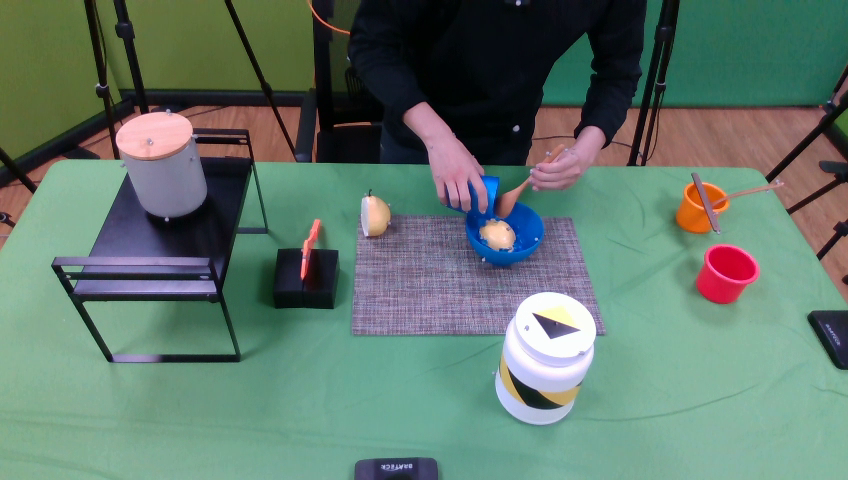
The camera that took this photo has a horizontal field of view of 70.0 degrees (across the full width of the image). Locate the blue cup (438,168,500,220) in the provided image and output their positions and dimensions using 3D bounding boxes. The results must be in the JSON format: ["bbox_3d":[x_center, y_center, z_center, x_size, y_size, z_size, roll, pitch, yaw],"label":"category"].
[{"bbox_3d":[0.081,-0.092,1.131,0.100,0.093,0.092,16,47,3],"label":"blue cup"}]

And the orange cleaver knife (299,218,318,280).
[{"bbox_3d":[-0.214,0.013,1.125,0.012,0.077,0.210,6,17,-5],"label":"orange cleaver knife"}]

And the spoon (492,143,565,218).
[{"bbox_3d":[0.185,-0.107,1.087,0.022,0.194,0.041,-14,63,-52],"label":"spoon"}]

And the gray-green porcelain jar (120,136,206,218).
[{"bbox_3d":[-0.403,-0.106,0.946,0.106,0.127,0.105,3,46,-2],"label":"gray-green porcelain jar"}]

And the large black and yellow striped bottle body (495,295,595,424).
[{"bbox_3d":[0.183,0.182,0.923,0.131,0.185,0.130,2,46,-2],"label":"large black and yellow striped bottle body"}]

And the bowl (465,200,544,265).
[{"bbox_3d":[0.149,-0.004,1.167,0.151,0.077,0.150,2,46,-2],"label":"bowl"}]

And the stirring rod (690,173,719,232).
[{"bbox_3d":[0.566,-0.080,1.225,0.014,0.006,0.175,2,46,2],"label":"stirring rod"}]

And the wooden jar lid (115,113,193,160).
[{"bbox_3d":[-0.399,-0.151,0.900,0.108,0.021,0.107,3,46,-3],"label":"wooden jar lid"}]

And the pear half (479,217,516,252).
[{"bbox_3d":[0.145,-0.014,1.167,0.070,0.031,0.087,-22,57,-18],"label":"pear half"}]

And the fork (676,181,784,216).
[{"bbox_3d":[0.618,-0.084,1.235,0.207,0.019,0.028,-23,21,38],"label":"fork"}]

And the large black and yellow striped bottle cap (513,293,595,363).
[{"bbox_3d":[0.186,0.123,0.863,0.115,0.019,0.114,3,45,-3],"label":"large black and yellow striped bottle cap"}]

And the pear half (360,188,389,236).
[{"bbox_3d":[-0.096,-0.060,1.181,0.056,0.110,0.076,-13,52,-17],"label":"pear half"}]
